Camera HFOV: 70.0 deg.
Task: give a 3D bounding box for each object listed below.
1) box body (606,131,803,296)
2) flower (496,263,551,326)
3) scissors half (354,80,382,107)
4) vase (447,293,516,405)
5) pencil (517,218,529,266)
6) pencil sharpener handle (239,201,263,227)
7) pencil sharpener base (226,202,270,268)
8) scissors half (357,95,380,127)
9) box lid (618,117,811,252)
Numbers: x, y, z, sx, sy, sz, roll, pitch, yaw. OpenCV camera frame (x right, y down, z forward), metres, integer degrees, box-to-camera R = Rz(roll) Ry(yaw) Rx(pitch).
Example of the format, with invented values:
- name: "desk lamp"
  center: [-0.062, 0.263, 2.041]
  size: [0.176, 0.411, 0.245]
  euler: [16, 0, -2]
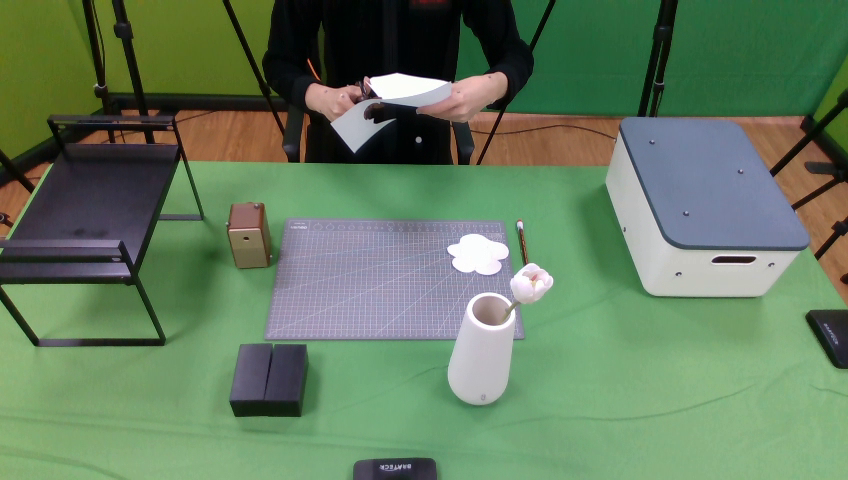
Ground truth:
- name: "box body"
  center: [0.530, -0.067, 1.204]
  size: [0.254, 0.161, 0.361]
  euler: [1, 46, -4]
- name: "flower"
  center: [0.102, 0.120, 0.853]
  size: [0.044, 0.363, 0.038]
  euler: [-2, 64, -10]
- name: "scissors half"
  center: [-0.099, -0.252, 1.062]
  size: [0.013, 0.040, 0.174]
  euler: [-14, 26, -15]
- name: "vase"
  center: [0.091, 0.169, 0.921]
  size: [0.098, 0.201, 0.097]
  euler: [3, 47, -3]
- name: "pencil"
  center: [0.200, 0.027, 1.196]
  size: [0.012, 0.012, 0.193]
  euler: [1, 48, -3]
- name: "pencil sharpener handle"
  center: [-0.324, -0.056, 1.149]
  size: [0.036, 0.068, 0.030]
  euler: [-13, 46, 4]
- name: "pencil sharpener base"
  center: [-0.323, -0.010, 1.123]
  size: [0.061, 0.107, 0.076]
  euler: [-3, 46, -7]
- name: "scissors half"
  center: [-0.096, -0.231, 1.067]
  size: [0.013, 0.175, 0.040]
  euler: [-9, 90, -16]
- name: "box lid"
  center: [0.534, -0.117, 1.149]
  size: [0.263, 0.015, 0.369]
  euler: [0, 47, -3]
